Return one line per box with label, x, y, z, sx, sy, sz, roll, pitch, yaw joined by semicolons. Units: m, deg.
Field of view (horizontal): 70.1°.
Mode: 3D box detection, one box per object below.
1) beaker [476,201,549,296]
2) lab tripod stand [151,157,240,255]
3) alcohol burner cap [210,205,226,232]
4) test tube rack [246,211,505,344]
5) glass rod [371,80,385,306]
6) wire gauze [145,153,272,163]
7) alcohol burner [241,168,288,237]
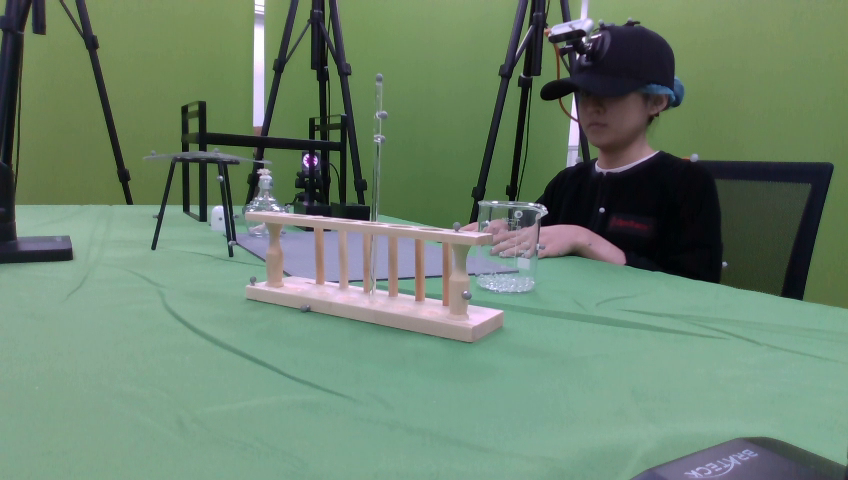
beaker;0.098;0.009;0.681;0.083;0.100;0.074;8;9;32
lab tripod stand;-0.310;-0.052;0.866;0.148;0.131;0.148;2;6;0
alcohol burner cap;-0.376;-0.040;1.107;0.034;0.048;0.034;2;7;0
test tube rack;-0.049;0.025;0.547;0.241;0.085;0.067;7;8;29
glass rod;-0.040;-0.039;0.530;0.008;0.199;0.008;2;2;0
wire gauze;-0.303;-0.117;0.854;0.121;0.011;0.126;7;8;34
alcohol burner;-0.272;-0.064;1.036;0.078;0.119;0.078;4;5;0
